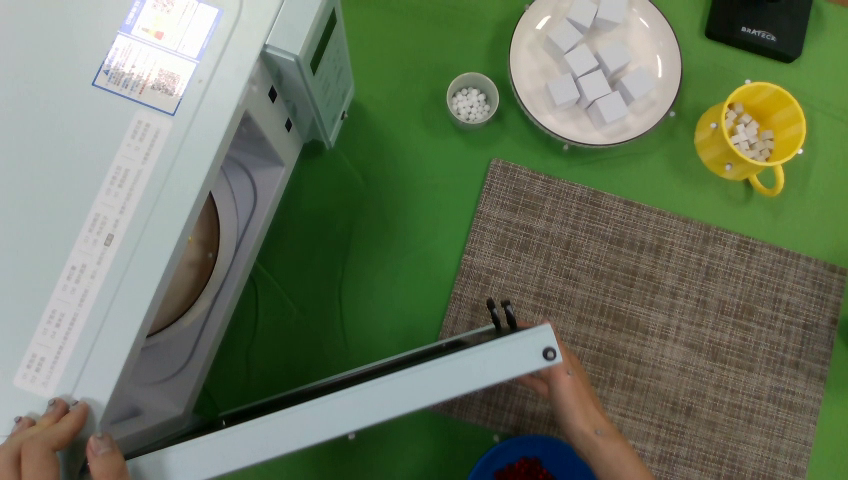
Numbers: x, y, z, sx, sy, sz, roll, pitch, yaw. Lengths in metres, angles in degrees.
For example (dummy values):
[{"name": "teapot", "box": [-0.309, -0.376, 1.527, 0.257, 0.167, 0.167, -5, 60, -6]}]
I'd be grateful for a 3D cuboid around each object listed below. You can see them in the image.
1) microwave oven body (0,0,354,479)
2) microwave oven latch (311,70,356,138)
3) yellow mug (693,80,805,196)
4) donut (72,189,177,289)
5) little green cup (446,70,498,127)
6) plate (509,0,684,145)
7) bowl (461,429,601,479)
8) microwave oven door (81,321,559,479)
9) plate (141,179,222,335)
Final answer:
[{"name": "microwave oven body", "box": [-0.299, -0.058, 0.565, 0.326, 0.260, 0.440, 21, 83, -1]}, {"name": "microwave oven latch", "box": [-0.104, -0.157, 0.685, 0.030, 0.029, 0.079, 25, 83, 0]}, {"name": "yellow mug", "box": [0.385, -0.114, 0.711, 0.100, 0.064, 0.130, -19, 85, -5]}, {"name": "donut", "box": [-0.293, -0.002, 0.596, 0.099, 0.048, 0.099, 0, 86, -2]}, {"name": "little green cup", "box": [0.054, -0.163, 0.711, 0.061, 0.038, 0.061, 0, 84, -4]}, {"name": "plate", "box": [0.203, -0.211, 0.728, 0.208, 0.039, 0.207, 0, 83, -3]}, {"name": "bowl", "box": [0.106, 0.271, 0.641, 0.151, 0.077, 0.151, 1, 82, -3]}, {"name": "microwave oven door", "box": [-0.075, 0.141, 0.547, 0.356, 0.244, 0.039, -17, 82, -5]}, {"name": "plate", "box": [-0.307, -0.004, 0.607, 0.209, 0.038, 0.208, 1, 86, -6]}]
